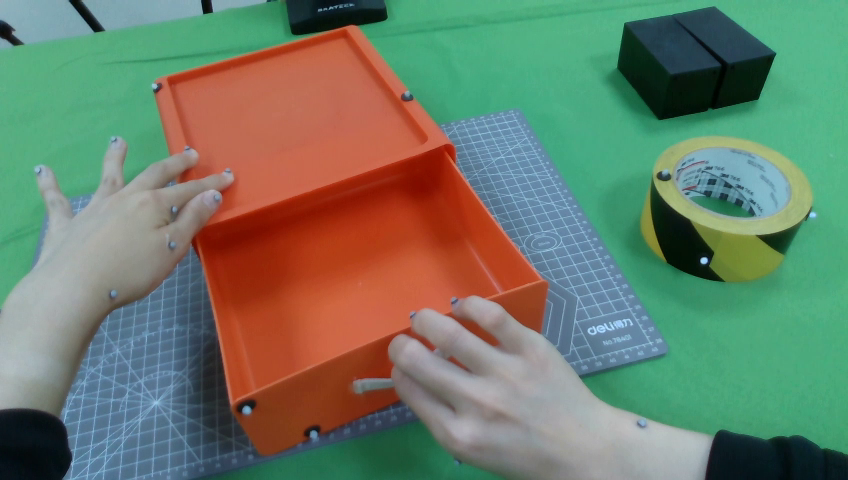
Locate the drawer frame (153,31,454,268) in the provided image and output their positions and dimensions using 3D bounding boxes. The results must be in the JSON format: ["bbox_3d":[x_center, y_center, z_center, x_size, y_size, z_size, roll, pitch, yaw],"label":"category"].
[{"bbox_3d":[-0.108,-0.076,0.519,0.202,0.083,0.211,-22,48,-14],"label":"drawer frame"}]

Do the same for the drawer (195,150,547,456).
[{"bbox_3d":[-0.051,0.016,0.431,0.195,0.074,0.209,-20,48,-13],"label":"drawer"}]

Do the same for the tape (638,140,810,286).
[{"bbox_3d":[0.226,-0.024,0.467,0.117,0.053,0.115,-2,46,2],"label":"tape"}]
